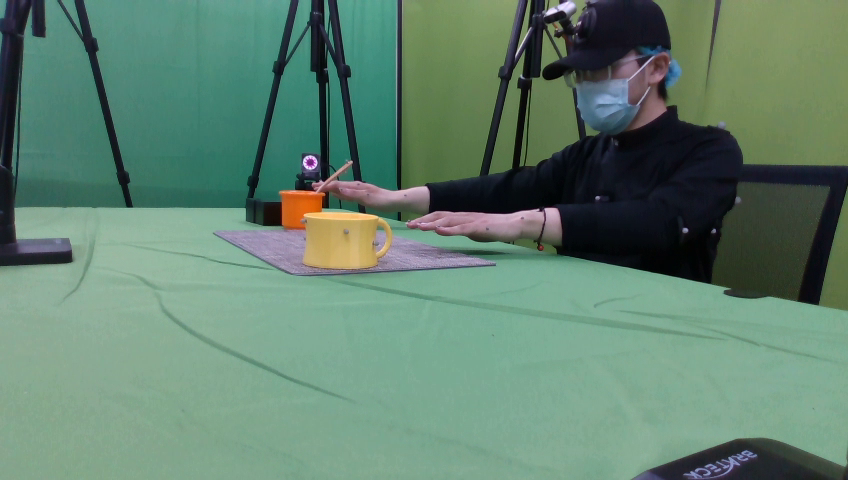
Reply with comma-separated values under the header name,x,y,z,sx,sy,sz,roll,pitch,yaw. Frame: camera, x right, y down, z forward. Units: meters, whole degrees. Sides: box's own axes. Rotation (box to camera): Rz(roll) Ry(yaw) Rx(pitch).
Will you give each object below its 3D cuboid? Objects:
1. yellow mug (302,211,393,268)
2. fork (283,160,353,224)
name,x,y,z,sx,sy,sz,roll,pitch,yaw
yellow mug,-0.098,-0.003,0.810,0.131,0.064,0.099,-2,8,-37
fork,-0.214,-0.101,1.245,0.028,0.019,0.207,0,46,53
